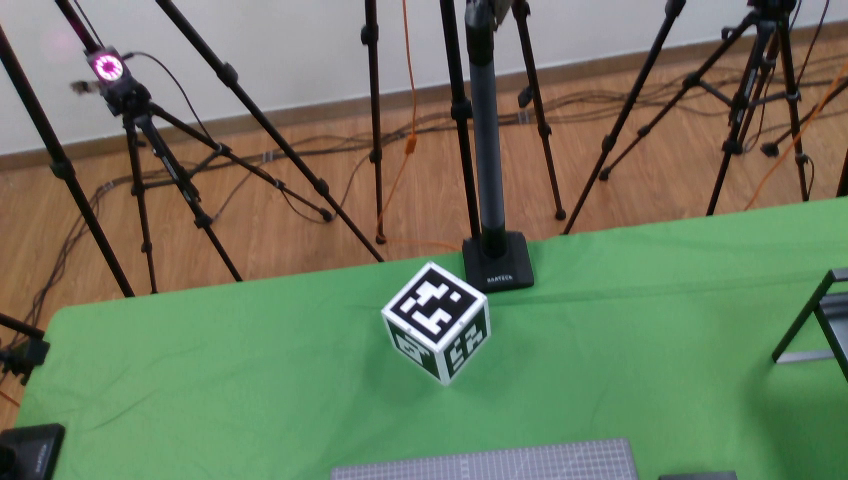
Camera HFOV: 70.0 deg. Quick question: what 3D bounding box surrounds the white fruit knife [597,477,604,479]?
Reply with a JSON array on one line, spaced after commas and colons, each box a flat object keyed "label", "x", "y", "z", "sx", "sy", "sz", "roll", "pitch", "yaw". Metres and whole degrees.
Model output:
[{"label": "white fruit knife", "x": 0.256, "y": 0.418, "z": 0.802, "sx": 0.027, "sy": 0.016, "sz": 0.205, "roll": 2, "pitch": 52, "yaw": -5}]
